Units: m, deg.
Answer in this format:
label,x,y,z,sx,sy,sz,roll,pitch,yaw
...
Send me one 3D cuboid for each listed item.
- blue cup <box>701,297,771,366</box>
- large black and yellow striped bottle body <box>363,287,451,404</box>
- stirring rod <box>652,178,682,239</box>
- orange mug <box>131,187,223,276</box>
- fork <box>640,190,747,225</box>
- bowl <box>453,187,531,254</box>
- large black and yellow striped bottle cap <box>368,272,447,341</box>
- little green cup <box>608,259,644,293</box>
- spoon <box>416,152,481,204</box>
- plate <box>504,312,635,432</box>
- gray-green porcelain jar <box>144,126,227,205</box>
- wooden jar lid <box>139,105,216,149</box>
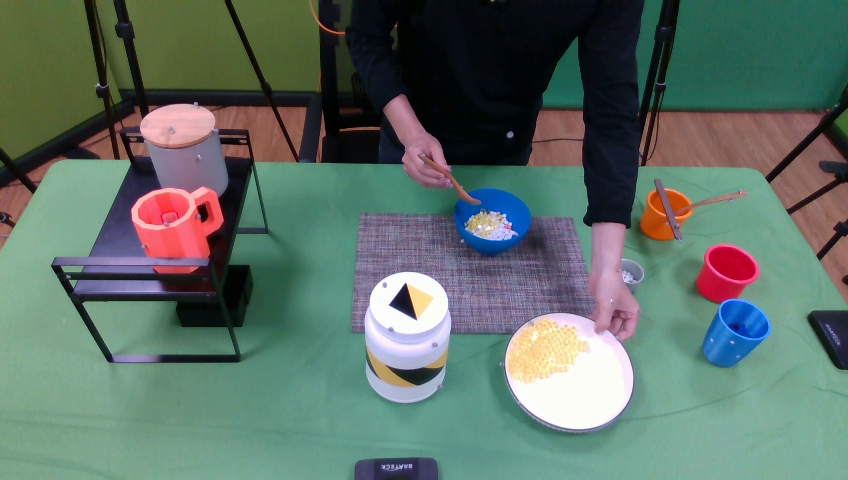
label,x,y,z,sx,sy,sz,roll,pitch,yaw
blue cup,0.519,0.162,1.025,0.093,0.101,0.092,3,45,-3
large black and yellow striped bottle body,-0.027,0.153,0.935,0.131,0.185,0.130,2,46,-2
stirring rod,0.480,-0.066,1.203,0.014,0.006,0.175,4,46,-4
orange mug,-0.354,-0.022,0.888,0.083,0.101,0.126,31,55,24
fork,0.533,-0.064,1.211,0.207,0.019,0.028,-22,28,38
bowl,0.128,-0.026,1.187,0.151,0.077,0.150,2,46,-2
large black and yellow striped bottle cap,-0.023,0.093,0.875,0.115,0.019,0.114,3,46,-3
little green cup,0.379,0.070,1.147,0.061,0.039,0.061,3,46,-2
spoon,0.043,-0.108,1.074,0.041,0.195,0.021,31,85,44
plate,0.233,0.215,0.986,0.209,0.038,0.208,0,51,0
gray-green porcelain jar,-0.375,-0.126,0.967,0.106,0.127,0.105,2,46,-2
wooden jar lid,-0.372,-0.169,0.920,0.108,0.021,0.107,4,43,-4
